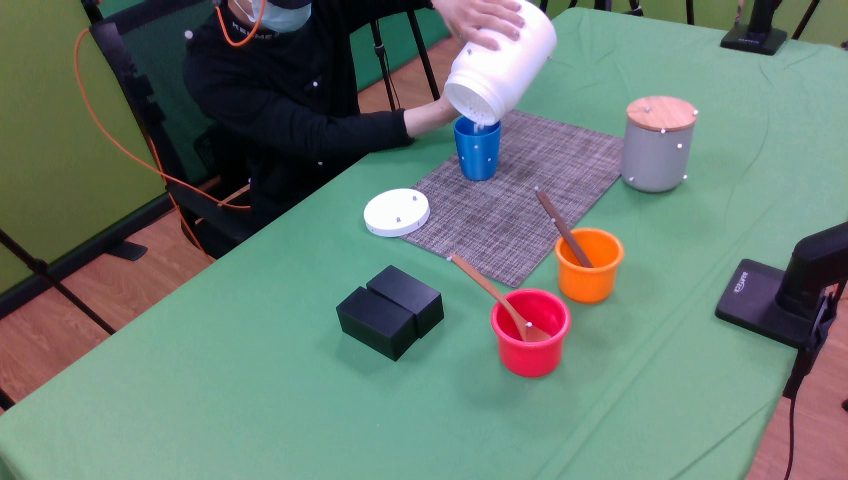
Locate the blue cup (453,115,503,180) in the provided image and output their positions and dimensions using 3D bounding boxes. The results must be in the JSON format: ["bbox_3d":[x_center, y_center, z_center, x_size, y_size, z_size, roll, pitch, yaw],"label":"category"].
[{"bbox_3d":[0.097,-0.166,1.088,0.092,0.100,0.092,-3,41,3],"label":"blue cup"}]

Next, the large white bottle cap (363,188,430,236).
[{"bbox_3d":[-0.048,-0.050,1.040,0.115,0.018,0.114,-7,41,6],"label":"large white bottle cap"}]

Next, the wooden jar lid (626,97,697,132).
[{"bbox_3d":[0.382,-0.198,0.976,0.108,0.021,0.108,-2,40,3],"label":"wooden jar lid"}]

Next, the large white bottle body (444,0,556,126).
[{"bbox_3d":[0.128,-0.302,1.043,0.129,0.131,0.184,27,77,34],"label":"large white bottle body"}]

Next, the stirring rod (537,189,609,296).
[{"bbox_3d":[0.211,0.003,0.855,0.014,0.006,0.176,-32,88,-30],"label":"stirring rod"}]

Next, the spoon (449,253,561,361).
[{"bbox_3d":[0.103,0.083,0.770,0.194,0.021,0.042,47,51,-7],"label":"spoon"}]

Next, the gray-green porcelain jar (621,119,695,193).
[{"bbox_3d":[0.389,-0.152,1.016,0.106,0.127,0.105,-4,40,4],"label":"gray-green porcelain jar"}]
